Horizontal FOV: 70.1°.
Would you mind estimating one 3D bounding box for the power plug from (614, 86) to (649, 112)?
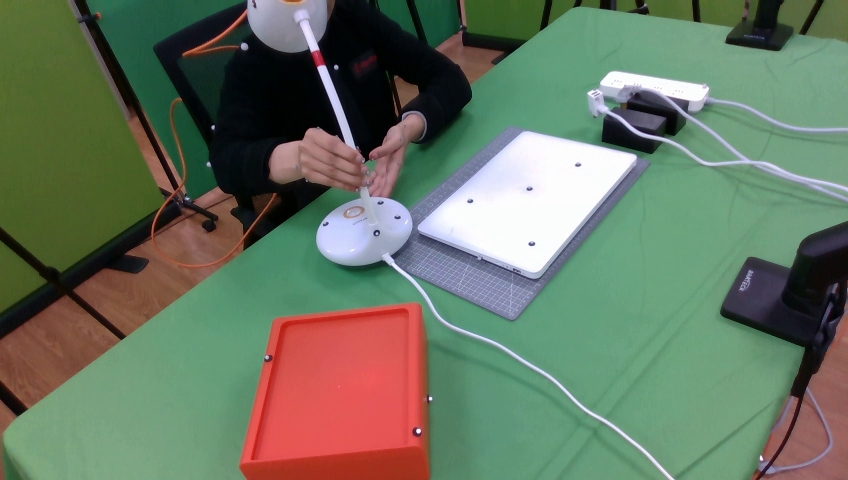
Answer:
[{"bbox_3d":[0.406,-0.275,1.192,0.035,0.053,0.072,-15,24,-16],"label":"power plug"}]

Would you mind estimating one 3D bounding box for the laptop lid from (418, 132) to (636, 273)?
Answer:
[{"bbox_3d":[0.181,-0.084,1.036,0.239,0.013,0.358,22,49,35],"label":"laptop lid"}]

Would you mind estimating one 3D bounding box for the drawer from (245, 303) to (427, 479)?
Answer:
[{"bbox_3d":[-0.097,0.183,0.743,0.194,0.073,0.210,-6,41,3],"label":"drawer"}]

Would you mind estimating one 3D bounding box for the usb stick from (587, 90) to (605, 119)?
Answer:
[{"bbox_3d":[0.334,-0.258,1.170,0.021,0.059,0.027,-28,44,-5],"label":"usb stick"}]

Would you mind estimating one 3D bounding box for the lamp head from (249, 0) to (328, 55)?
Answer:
[{"bbox_3d":[-0.180,-0.322,0.818,0.113,0.112,0.122,-23,5,-15],"label":"lamp head"}]

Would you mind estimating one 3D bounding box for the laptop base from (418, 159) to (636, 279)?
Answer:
[{"bbox_3d":[0.185,-0.074,1.042,0.233,0.023,0.355,19,48,35],"label":"laptop base"}]

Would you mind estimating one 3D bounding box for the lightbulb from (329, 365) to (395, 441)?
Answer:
[{"bbox_3d":[-0.080,0.195,0.738,0.060,0.060,0.107,-32,61,-25],"label":"lightbulb"}]

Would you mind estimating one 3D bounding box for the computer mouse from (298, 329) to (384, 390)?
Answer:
[{"bbox_3d":[-0.111,0.156,0.799,0.117,0.041,0.062,-15,41,1],"label":"computer mouse"}]

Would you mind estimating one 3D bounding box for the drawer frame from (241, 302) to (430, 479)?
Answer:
[{"bbox_3d":[-0.095,0.184,0.739,0.202,0.083,0.212,-7,40,3],"label":"drawer frame"}]

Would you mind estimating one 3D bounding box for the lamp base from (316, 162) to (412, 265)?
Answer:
[{"bbox_3d":[-0.102,-0.068,0.928,0.161,0.181,0.177,-31,47,-20],"label":"lamp base"}]

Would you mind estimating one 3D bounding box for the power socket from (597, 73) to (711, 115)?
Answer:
[{"bbox_3d":[0.469,-0.304,1.249,0.225,0.033,0.072,20,49,30],"label":"power socket"}]
